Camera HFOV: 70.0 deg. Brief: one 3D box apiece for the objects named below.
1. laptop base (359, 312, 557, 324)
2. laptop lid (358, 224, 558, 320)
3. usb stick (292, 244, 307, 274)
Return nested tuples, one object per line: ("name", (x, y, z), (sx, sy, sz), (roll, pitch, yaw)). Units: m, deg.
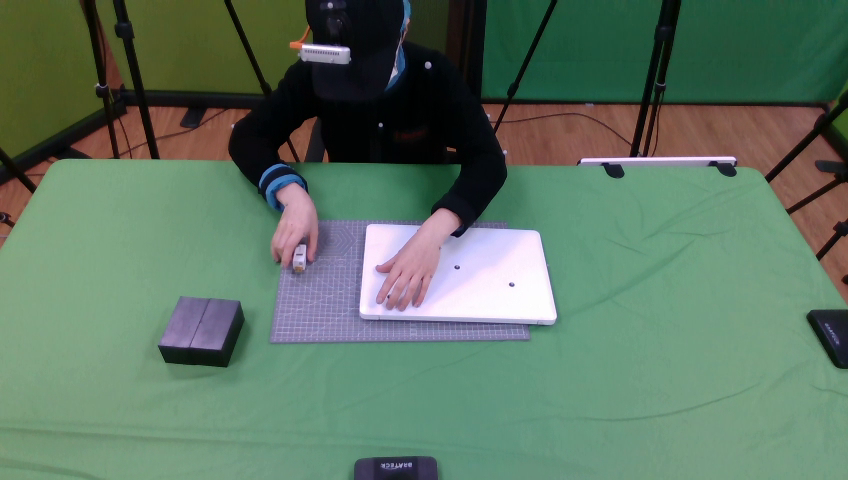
("laptop base", (0.061, 0.063, 1.145), (0.354, 0.023, 0.234), (2, 43, -3))
("laptop lid", (0.061, 0.053, 1.138), (0.357, 0.013, 0.240), (3, 44, -2))
("usb stick", (-0.234, 0.036, 1.137), (0.021, 0.027, 0.059), (1, 50, -3))
